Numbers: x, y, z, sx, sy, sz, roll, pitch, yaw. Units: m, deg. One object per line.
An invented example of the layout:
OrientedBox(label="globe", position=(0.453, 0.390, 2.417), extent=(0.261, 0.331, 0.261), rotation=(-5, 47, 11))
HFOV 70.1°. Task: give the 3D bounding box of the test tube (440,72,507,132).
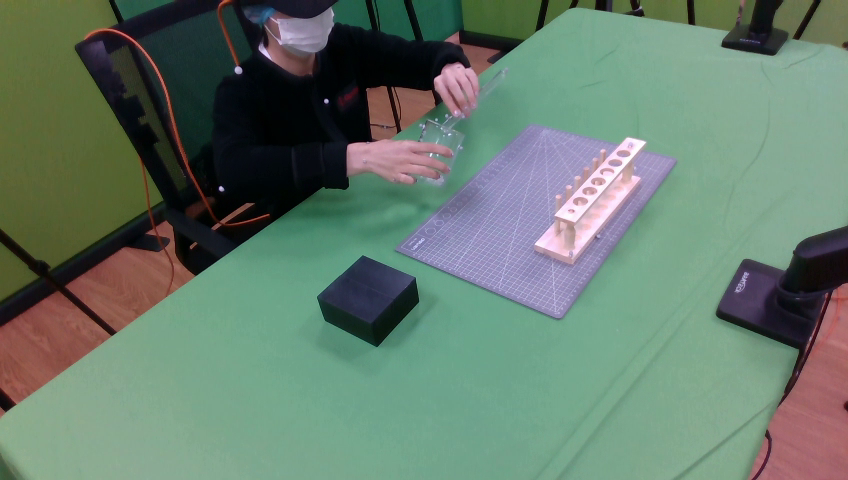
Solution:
OrientedBox(label="test tube", position=(0.086, -0.236, 1.027), extent=(0.150, 0.017, 0.017), rotation=(-42, 47, -9))

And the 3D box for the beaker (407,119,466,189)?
OrientedBox(label="beaker", position=(0.018, -0.144, 1.024), extent=(0.074, 0.100, 0.084), rotation=(22, 11, 0))

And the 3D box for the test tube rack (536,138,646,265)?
OrientedBox(label="test tube rack", position=(0.268, -0.071, 0.964), extent=(0.066, 0.085, 0.243), rotation=(23, 49, 32))
